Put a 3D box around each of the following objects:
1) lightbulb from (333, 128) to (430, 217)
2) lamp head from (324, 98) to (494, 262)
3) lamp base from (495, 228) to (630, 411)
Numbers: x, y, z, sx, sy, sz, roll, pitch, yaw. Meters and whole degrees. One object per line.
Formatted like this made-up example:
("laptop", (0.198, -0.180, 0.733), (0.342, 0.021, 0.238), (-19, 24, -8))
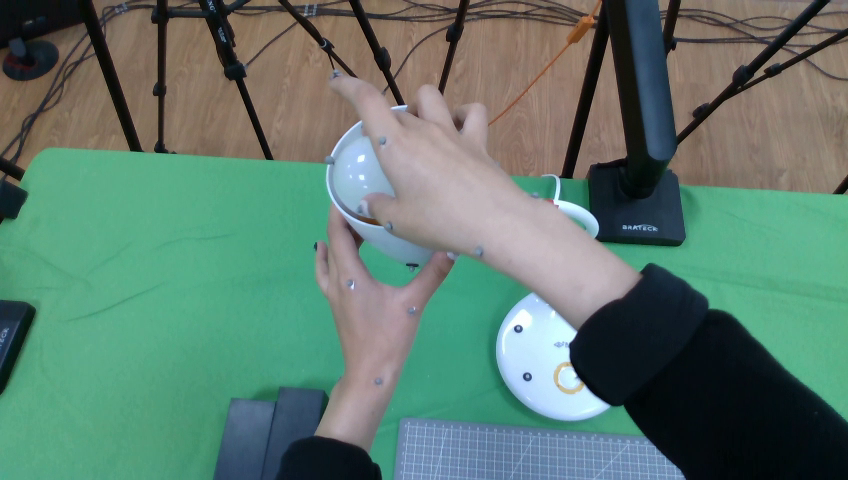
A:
("lightbulb", (-0.026, -0.043, 0.460), (0.059, 0.109, 0.059), (-9, 68, 23))
("lamp head", (-0.004, -0.035, 0.488), (0.112, 0.124, 0.111), (-8, 61, 15))
("lamp base", (0.162, 0.079, 0.668), (0.161, 0.182, 0.177), (-8, 60, -3))
